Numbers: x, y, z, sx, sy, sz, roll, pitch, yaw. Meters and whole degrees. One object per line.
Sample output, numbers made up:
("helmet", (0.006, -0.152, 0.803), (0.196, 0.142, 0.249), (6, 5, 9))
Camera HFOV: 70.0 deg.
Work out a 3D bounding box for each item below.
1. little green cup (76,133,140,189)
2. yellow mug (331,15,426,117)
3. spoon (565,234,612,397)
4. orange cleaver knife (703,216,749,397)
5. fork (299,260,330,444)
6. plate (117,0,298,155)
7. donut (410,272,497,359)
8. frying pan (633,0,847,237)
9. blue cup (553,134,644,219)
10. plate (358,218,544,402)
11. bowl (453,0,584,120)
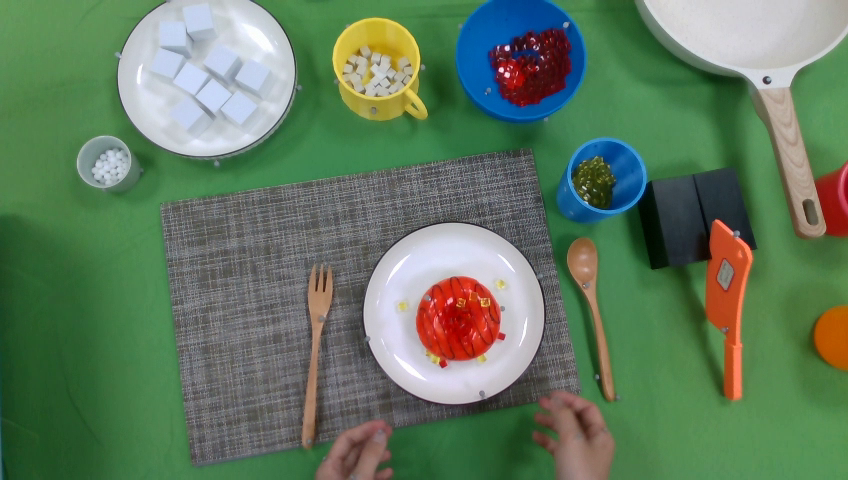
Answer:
("little green cup", (-0.363, -0.089, 0.702), (0.061, 0.038, 0.061), (1, 82, -4))
("yellow mug", (-0.046, -0.194, 0.719), (0.130, 0.064, 0.100), (43, 83, 3))
("spoon", (0.198, 0.089, 0.712), (0.042, 0.021, 0.193), (-7, 82, -25))
("orange cleaver knife", (0.340, 0.078, 0.691), (0.012, 0.076, 0.212), (-10, 111, -4))
("fork", (-0.127, 0.126, 0.690), (0.028, 0.018, 0.206), (5, 80, -13))
("plate", (-0.253, -0.199, 0.724), (0.208, 0.039, 0.207), (0, 82, -2))
("donut", (0.034, 0.085, 0.682), (0.099, 0.048, 0.099), (0, 86, -2))
("frying pan", (0.396, -0.238, 0.726), (0.307, 0.103, 0.485), (-4, 74, -2))
("blue cup", (0.190, -0.064, 0.694), (0.093, 0.100, 0.092), (1, 80, -3))
("plate", (0.030, 0.079, 0.695), (0.209, 0.038, 0.208), (0, 83, -3))
("bowl", (0.106, -0.206, 0.722), (0.151, 0.077, 0.151), (0, 83, -2))
